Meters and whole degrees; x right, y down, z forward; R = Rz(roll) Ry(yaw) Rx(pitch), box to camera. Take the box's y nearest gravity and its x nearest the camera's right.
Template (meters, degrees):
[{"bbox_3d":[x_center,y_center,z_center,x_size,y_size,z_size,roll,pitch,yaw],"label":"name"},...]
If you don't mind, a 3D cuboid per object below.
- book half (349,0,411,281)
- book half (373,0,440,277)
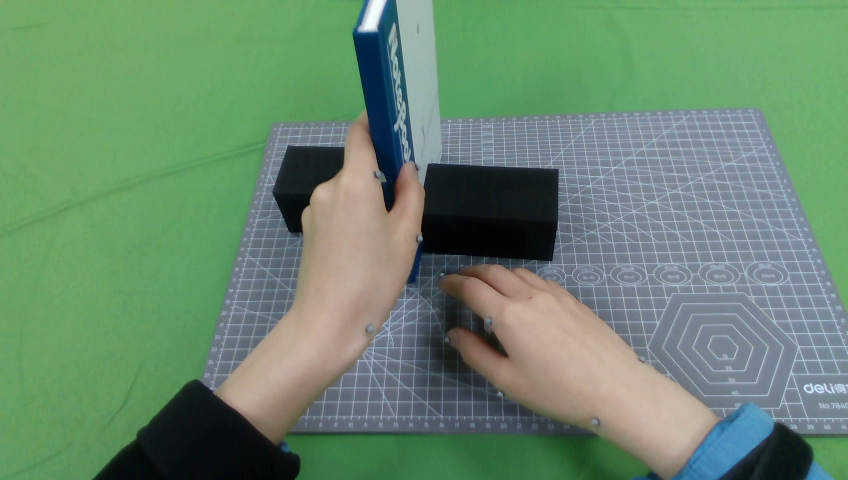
[{"bbox_3d":[-0.014,-0.091,0.416,0.016,0.212,0.147,3,51,8],"label":"book half"},{"bbox_3d":[-0.006,-0.092,0.418,0.007,0.212,0.142,4,51,9],"label":"book half"}]
